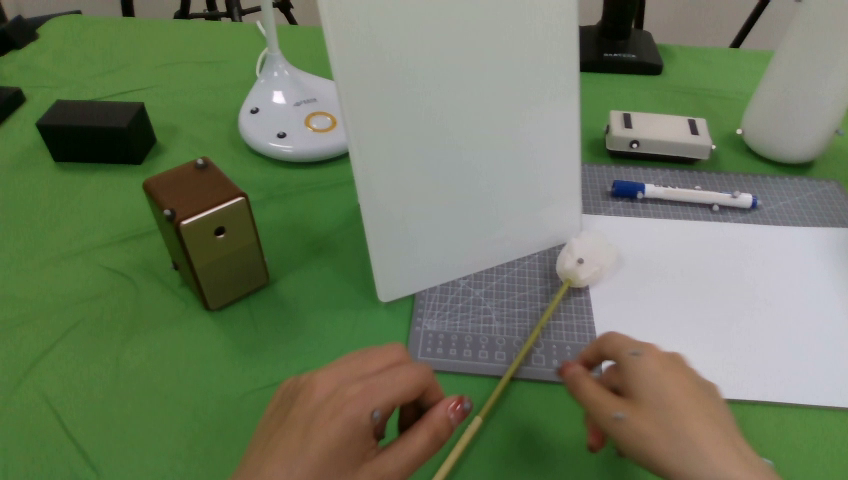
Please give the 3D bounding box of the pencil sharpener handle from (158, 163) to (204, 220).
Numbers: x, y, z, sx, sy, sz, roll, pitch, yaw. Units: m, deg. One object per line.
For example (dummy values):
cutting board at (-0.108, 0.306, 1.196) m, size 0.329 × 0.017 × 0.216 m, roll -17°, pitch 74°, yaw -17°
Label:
pencil sharpener handle at (-0.220, -0.047, 0.544) m, size 0.036 × 0.068 × 0.030 m, roll -35°, pitch 54°, yaw -21°

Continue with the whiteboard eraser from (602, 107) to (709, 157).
whiteboard eraser at (0.264, -0.122, 0.698) m, size 0.112 × 0.042 × 0.055 m, roll 5°, pitch 42°, yaw 6°

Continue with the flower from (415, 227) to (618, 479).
flower at (0.059, 0.106, 0.476) m, size 0.044 × 0.038 × 0.361 m, roll 31°, pitch 56°, yaw 21°

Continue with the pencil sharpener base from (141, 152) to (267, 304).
pencil sharpener base at (-0.189, -0.010, 0.524) m, size 0.061 × 0.108 × 0.076 m, roll -30°, pitch 52°, yaw -28°

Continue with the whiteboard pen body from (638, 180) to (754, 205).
whiteboard pen body at (0.274, -0.052, 0.639) m, size 0.140 × 0.017 × 0.017 m, roll 6°, pitch 44°, yaw 6°

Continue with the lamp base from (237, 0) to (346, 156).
lamp base at (-0.150, -0.213, 0.683) m, size 0.160 × 0.182 × 0.177 m, roll -32°, pitch 51°, yaw -30°

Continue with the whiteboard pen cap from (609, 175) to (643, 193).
whiteboard pen cap at (0.215, -0.058, 0.644) m, size 0.033 × 0.018 × 0.018 m, roll 9°, pitch 44°, yaw 4°

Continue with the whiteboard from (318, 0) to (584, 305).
whiteboard at (0.014, -0.133, 0.554) m, size 0.218 × 0.308 × 0.142 m, roll -17°, pitch 27°, yaw -17°

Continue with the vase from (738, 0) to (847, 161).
vase at (0.420, -0.185, 0.653) m, size 0.098 × 0.202 × 0.097 m, roll 1°, pitch 44°, yaw -1°
